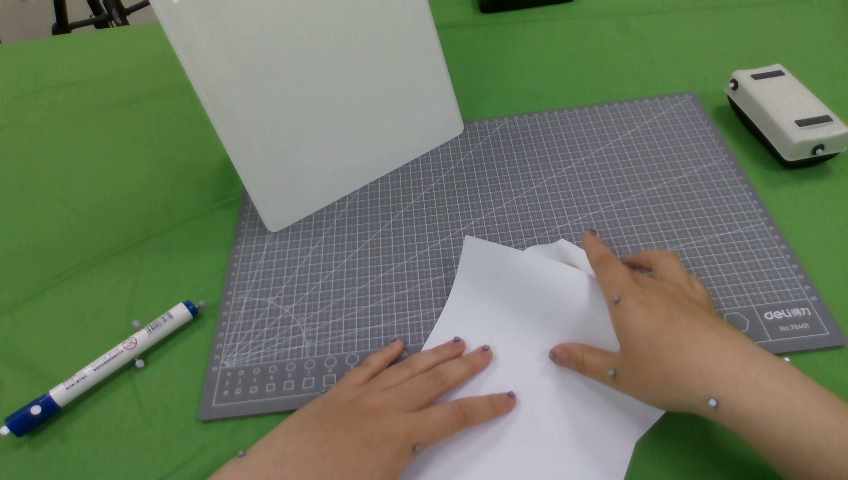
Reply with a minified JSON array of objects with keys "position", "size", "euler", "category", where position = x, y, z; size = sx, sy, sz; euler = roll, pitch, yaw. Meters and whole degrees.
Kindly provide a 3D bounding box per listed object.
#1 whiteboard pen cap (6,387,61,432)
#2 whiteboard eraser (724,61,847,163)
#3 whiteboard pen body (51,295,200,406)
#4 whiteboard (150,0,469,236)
[{"position":[-0.274,0.118,0.428],"size":[0.033,0.018,0.018],"euler":[-38,54,-25],"category":"whiteboard pen cap"},{"position":[0.323,-0.115,0.544],"size":[0.055,0.042,0.111],"euler":[-13,49,-1],"category":"whiteboard eraser"},{"position":[-0.231,0.087,0.452],"size":[0.140,0.017,0.017],"euler":[-38,54,-25],"category":"whiteboard pen body"},{"position":[-0.122,-0.201,0.543],"size":[0.217,0.308,0.142],"euler":[-30,31,-17],"category":"whiteboard"}]
